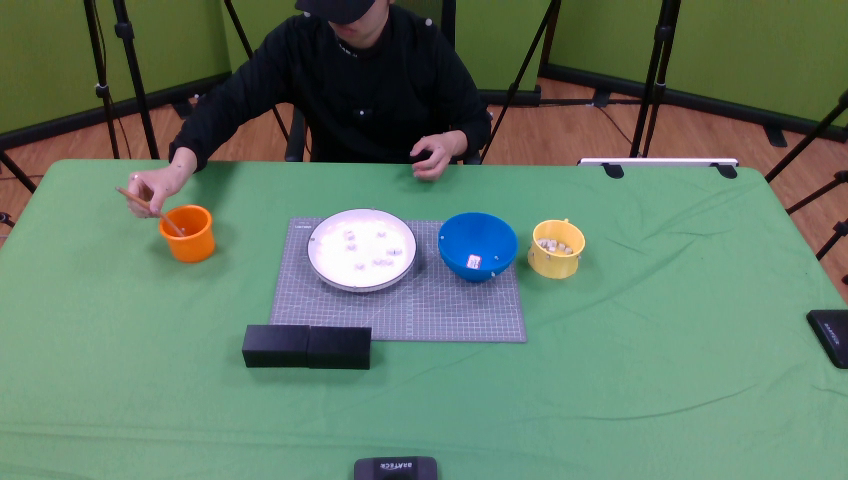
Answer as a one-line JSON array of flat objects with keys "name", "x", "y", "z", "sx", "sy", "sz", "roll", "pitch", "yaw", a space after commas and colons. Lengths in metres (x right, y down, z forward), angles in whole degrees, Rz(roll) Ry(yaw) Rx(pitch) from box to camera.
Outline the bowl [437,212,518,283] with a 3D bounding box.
[{"name": "bowl", "x": 0.096, "y": 0.025, "z": 1.138, "sx": 0.151, "sy": 0.077, "sz": 0.150, "roll": 3, "pitch": 46, "yaw": -2}]

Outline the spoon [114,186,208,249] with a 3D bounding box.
[{"name": "spoon", "x": -0.471, "y": -0.039, "z": 1.096, "sx": 0.021, "sy": 0.195, "sz": 0.041, "roll": -45, "pitch": 35, "yaw": -4}]

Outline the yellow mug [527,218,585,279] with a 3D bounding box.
[{"name": "yellow mug", "x": 0.261, "y": 0.006, "z": 1.181, "sx": 0.100, "sy": 0.064, "sz": 0.130, "roll": 18, "pitch": 47, "yaw": 14}]

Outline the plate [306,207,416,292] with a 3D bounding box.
[{"name": "plate", "x": -0.119, "y": 0.021, "z": 1.153, "sx": 0.209, "sy": 0.038, "sz": 0.208, "roll": 2, "pitch": 46, "yaw": -2}]
